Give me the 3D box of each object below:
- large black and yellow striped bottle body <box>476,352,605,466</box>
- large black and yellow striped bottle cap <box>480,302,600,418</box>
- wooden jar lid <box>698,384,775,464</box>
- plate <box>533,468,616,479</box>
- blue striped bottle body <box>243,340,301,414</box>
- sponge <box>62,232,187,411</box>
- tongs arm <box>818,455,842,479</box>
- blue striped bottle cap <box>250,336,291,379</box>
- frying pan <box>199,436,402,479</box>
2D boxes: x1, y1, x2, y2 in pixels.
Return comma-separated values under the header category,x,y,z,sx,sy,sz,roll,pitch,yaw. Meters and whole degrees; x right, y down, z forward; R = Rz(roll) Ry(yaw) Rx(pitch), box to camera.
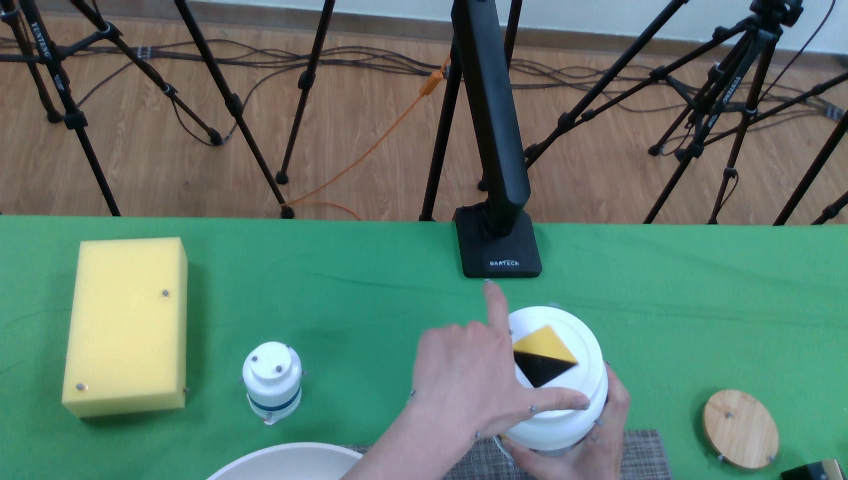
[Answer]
category,x,y,z,sx,sy,sz,roll,pitch,yaw
large black and yellow striped bottle body,0.125,0.160,0.657,0.130,0.186,0.129,-5,57,7
large black and yellow striped bottle cap,0.111,0.113,0.586,0.115,0.019,0.114,-3,56,6
wooden jar lid,0.426,0.253,0.832,0.108,0.021,0.107,5,60,-8
plate,0.180,0.371,0.692,0.209,0.038,0.207,5,58,-8
blue striped bottle body,-0.175,0.155,0.702,0.063,0.121,0.062,5,58,-8
sponge,-0.356,0.094,0.736,0.118,0.061,0.205,-4,60,-14
tongs arm,0.549,0.444,0.698,0.051,0.026,0.382,-4,70,-15
blue striped bottle cap,-0.167,0.128,0.659,0.045,0.021,0.044,5,59,-9
frying pan,-0.118,0.433,0.551,0.307,0.103,0.482,-1,51,-10
